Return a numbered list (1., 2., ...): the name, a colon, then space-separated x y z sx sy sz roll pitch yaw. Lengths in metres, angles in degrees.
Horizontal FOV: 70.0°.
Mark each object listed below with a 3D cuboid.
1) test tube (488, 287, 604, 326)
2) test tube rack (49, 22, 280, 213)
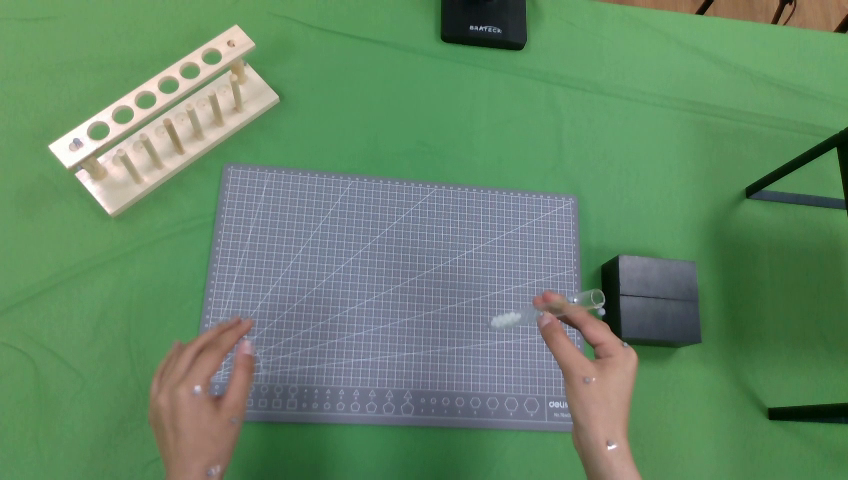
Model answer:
1. test tube: 0.106 0.063 0.556 0.017 0.150 0.017 9 71 -28
2. test tube rack: -0.286 -0.141 0.698 0.242 0.085 0.066 -41 83 -18
